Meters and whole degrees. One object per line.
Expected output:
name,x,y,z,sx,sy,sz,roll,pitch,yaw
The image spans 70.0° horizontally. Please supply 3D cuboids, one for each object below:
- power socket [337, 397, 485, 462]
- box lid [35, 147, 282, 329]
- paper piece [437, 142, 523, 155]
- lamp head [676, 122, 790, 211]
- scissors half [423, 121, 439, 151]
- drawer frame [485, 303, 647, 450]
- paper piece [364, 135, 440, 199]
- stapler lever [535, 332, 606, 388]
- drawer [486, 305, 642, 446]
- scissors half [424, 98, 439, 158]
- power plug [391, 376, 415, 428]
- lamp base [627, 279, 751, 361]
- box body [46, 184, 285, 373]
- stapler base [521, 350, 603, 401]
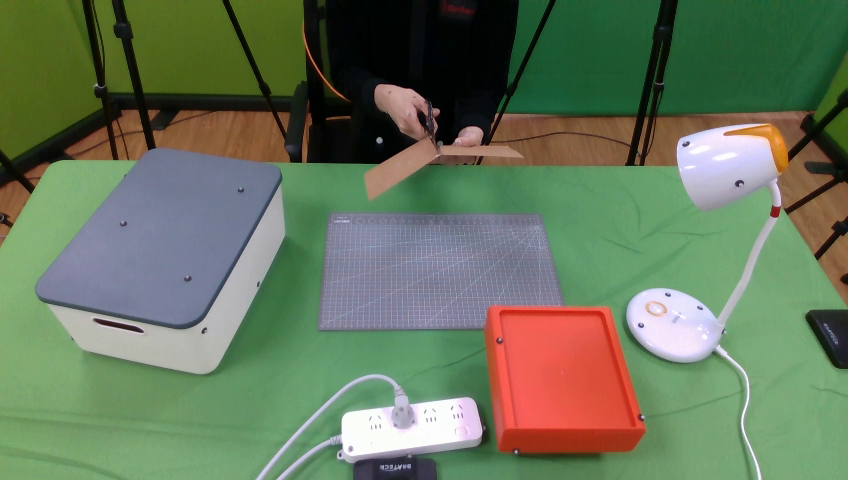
power socket,-0.018,0.285,0.915,0.227,0.033,0.071,-4,46,-8
box lid,-0.411,-0.023,0.987,0.263,0.015,0.369,10,47,5
paper piece,0.087,-0.155,1.013,0.136,0.008,0.137,5,15,-4
lamp head,0.423,-0.104,0.819,0.122,0.113,0.112,-13,33,40
scissors half,0.013,-0.173,1.043,0.013,0.040,0.174,0,19,-7
drawer frame,0.204,0.202,0.917,0.202,0.083,0.212,1,47,-4
paper piece,-0.041,-0.126,1.012,0.135,0.004,0.135,-30,25,6
stapler lever,0.225,0.182,0.929,0.118,0.040,0.027,27,34,15
drawer,0.202,0.200,0.918,0.195,0.073,0.210,2,47,-4
scissors half,0.014,-0.192,1.032,0.013,0.040,0.174,-4,45,-4
power plug,-0.030,0.249,0.917,0.035,0.053,0.072,3,46,0
lamp base,0.460,0.100,1.027,0.178,0.181,0.160,27,51,17
box body,-0.414,0.029,1.040,0.254,0.161,0.362,10,46,5
stapler base,0.217,0.203,0.942,0.130,0.024,0.041,26,34,16
